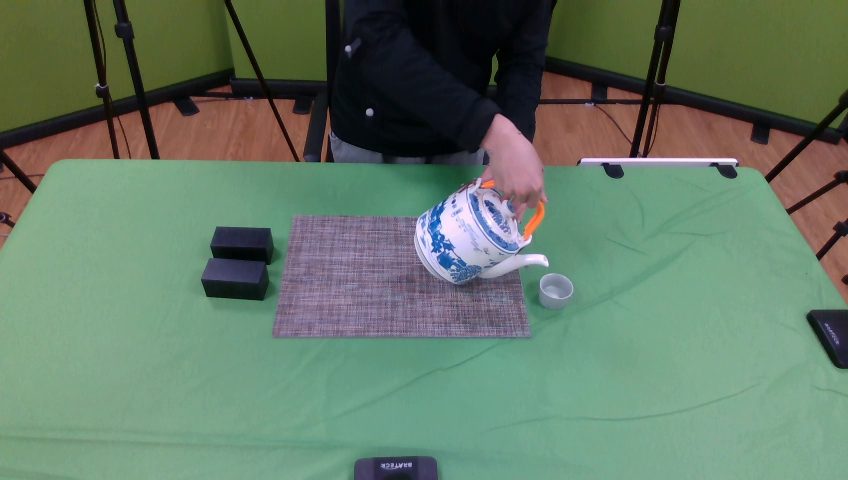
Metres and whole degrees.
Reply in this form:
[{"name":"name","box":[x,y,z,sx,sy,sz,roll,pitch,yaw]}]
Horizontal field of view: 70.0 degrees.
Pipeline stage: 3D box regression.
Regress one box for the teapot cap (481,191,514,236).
[{"name":"teapot cap","box":[0.127,-0.046,1.008,0.085,0.044,0.084,35,40,-35]}]

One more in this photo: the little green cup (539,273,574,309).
[{"name":"little green cup","box":[0.241,0.096,1.113,0.061,0.039,0.061,2,47,-2]}]

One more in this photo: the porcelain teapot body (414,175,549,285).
[{"name":"porcelain teapot body","box":[0.120,-0.009,1.042,0.206,0.225,0.144,44,34,-19]}]
